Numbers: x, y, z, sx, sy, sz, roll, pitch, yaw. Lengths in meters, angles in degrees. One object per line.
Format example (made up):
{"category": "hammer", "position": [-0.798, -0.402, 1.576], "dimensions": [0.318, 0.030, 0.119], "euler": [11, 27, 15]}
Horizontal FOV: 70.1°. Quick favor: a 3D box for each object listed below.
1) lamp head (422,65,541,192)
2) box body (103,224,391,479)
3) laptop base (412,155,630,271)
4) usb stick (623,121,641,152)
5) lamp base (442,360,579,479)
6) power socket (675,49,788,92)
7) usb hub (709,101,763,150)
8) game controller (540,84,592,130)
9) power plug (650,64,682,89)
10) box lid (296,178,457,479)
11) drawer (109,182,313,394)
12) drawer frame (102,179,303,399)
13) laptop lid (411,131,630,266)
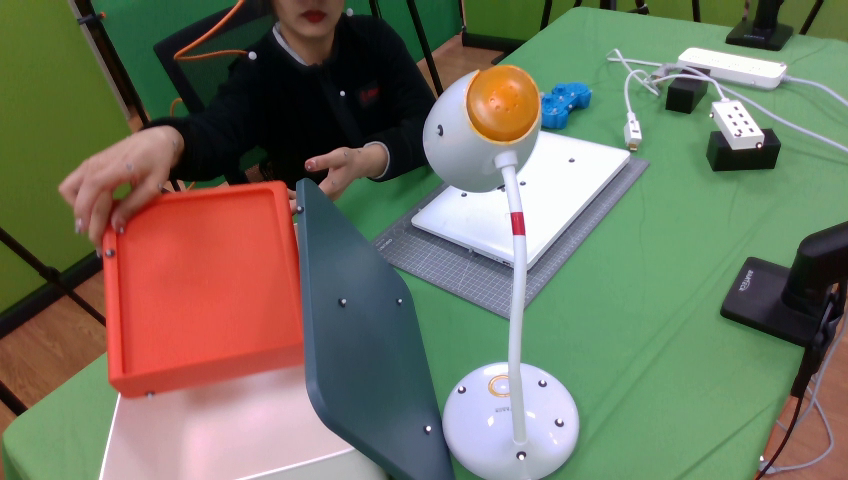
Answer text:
{"category": "lamp head", "position": [0.060, -0.106, 0.560], "dimensions": [0.113, 0.112, 0.122], "euler": [-17, 0, -8]}
{"category": "box body", "position": [-0.190, 0.161, 0.723], "dimensions": [0.255, 0.161, 0.361], "euler": [-13, 40, -5]}
{"category": "laptop base", "position": [0.176, -0.084, 1.056], "dimensions": [0.233, 0.023, 0.355], "euler": [20, 48, 36]}
{"category": "usb stick", "position": [0.389, -0.192, 1.129], "dimensions": [0.021, 0.027, 0.059], "euler": [8, 62, -9]}
{"category": "lamp base", "position": [0.094, 0.158, 0.657], "dimensions": [0.161, 0.181, 0.178], "euler": [-13, 42, -5]}
{"category": "power socket", "position": [0.647, -0.363, 1.284], "dimensions": [0.225, 0.033, 0.072], "euler": [26, 53, 35]}
{"category": "usb hub", "position": [0.534, -0.199, 1.040], "dimensions": [0.049, 0.025, 0.124], "euler": [-5, 39, 8]}
{"category": "game controller", "position": [0.277, -0.282, 1.251], "dimensions": [0.096, 0.052, 0.155], "euler": [27, 52, 30]}
{"category": "power plug", "position": [0.498, -0.341, 1.263], "dimensions": [0.035, 0.052, 0.072], "euler": [20, 10, -7]}
{"category": "box lid", "position": [-0.060, 0.103, 0.702], "dimensions": [0.015, 0.265, 0.369], "euler": [-30, 39, 11]}
{"category": "drawer", "position": [-0.239, 0.047, 0.681], "dimensions": [0.195, 0.073, 0.210], "euler": [-8, 62, -17]}
{"category": "drawer frame", "position": [-0.239, 0.047, 0.679], "dimensions": [0.202, 0.083, 0.212], "euler": [-10, 64, -17]}
{"category": "laptop lid", "position": [0.172, -0.094, 1.050], "dimensions": [0.239, 0.013, 0.358], "euler": [23, 49, 36]}
